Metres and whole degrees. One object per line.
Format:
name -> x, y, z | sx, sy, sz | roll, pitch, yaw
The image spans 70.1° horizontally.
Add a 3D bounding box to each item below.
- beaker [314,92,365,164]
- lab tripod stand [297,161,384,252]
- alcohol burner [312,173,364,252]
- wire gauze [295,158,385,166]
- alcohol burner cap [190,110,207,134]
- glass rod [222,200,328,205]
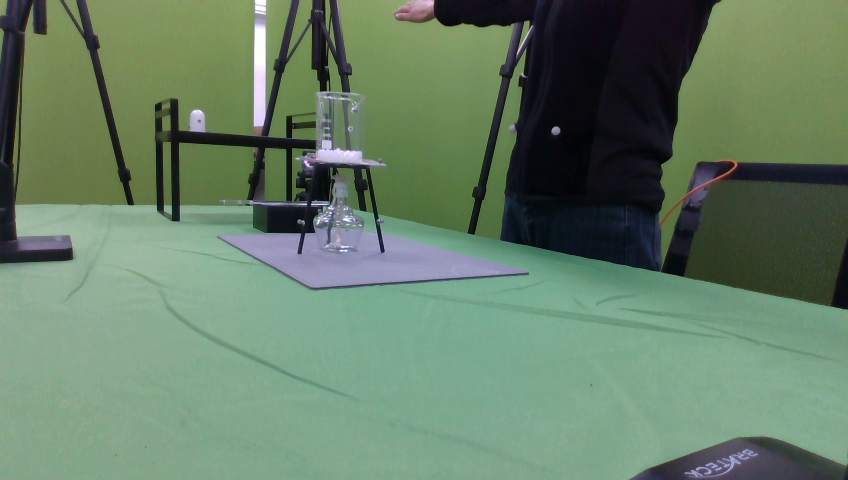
beaker -> -0.123, -0.163, 0.893 | 0.073, 0.100, 0.084 | 8, 9, 31
lab tripod stand -> -0.130, -0.051, 0.903 | 0.148, 0.131, 0.148 | 3, 9, 0
alcohol burner -> -0.129, -0.042, 0.910 | 0.078, 0.119, 0.078 | 4, 9, 0
wire gauze -> -0.128, -0.117, 0.901 | 0.125, 0.011, 0.121 | -2, 8, -14
alcohol burner cap -> -0.463, -0.242, 1.240 | 0.034, 0.048, 0.034 | 2, 7, 0
glass rod -> -0.275, -0.070, 1.140 | 0.201, 0.008, 0.008 | -1, 8, -27
